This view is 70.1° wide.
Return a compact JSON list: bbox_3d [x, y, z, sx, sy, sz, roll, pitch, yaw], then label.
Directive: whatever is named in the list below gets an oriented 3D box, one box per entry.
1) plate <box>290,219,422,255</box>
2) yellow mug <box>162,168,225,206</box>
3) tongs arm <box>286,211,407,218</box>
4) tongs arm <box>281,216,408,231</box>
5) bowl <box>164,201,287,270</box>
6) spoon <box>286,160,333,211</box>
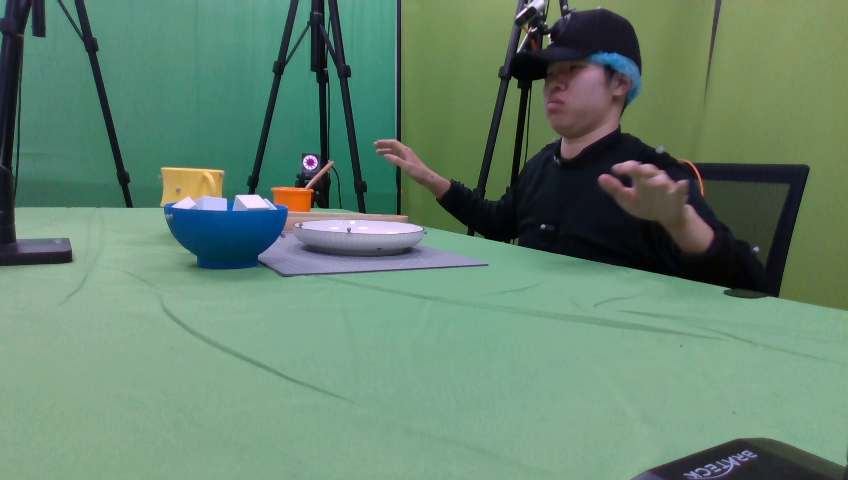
[{"bbox_3d":[-0.108,-0.005,0.963,0.208,0.039,0.207,3,7,0],"label":"plate"},{"bbox_3d":[-0.383,-0.087,1.026,0.130,0.064,0.100,11,11,44],"label":"yellow mug"},{"bbox_3d":[-0.222,-0.045,1.271,0.387,0.026,0.050,1,6,-25],"label":"tongs arm"},{"bbox_3d":[-0.181,-0.033,1.200,0.390,0.028,0.028,-2,4,-39],"label":"tongs arm"},{"bbox_3d":[-0.254,-0.006,0.782,0.151,0.077,0.151,2,8,0],"label":"bowl"},{"bbox_3d":[-0.262,-0.116,1.359,0.041,0.194,0.022,12,-33,38],"label":"spoon"}]
